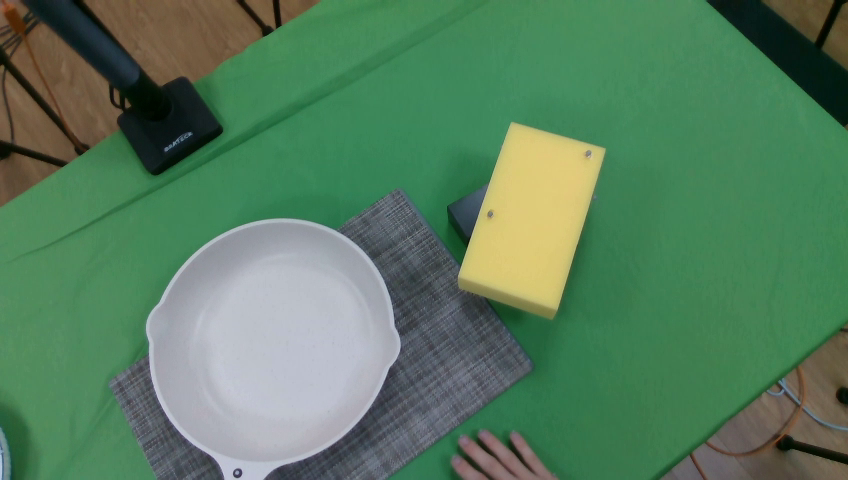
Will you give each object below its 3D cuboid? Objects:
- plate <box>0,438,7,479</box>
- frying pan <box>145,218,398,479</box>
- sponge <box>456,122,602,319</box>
[{"bbox_3d":[-0.603,0.302,0.735,0.207,0.039,0.206,-1,72,3],"label":"plate"},{"bbox_3d":[-0.194,0.213,0.695,0.306,0.103,0.484,6,65,7],"label":"frying pan"},{"bbox_3d":[0.125,-0.024,0.721,0.118,0.061,0.206,17,74,9],"label":"sponge"}]
